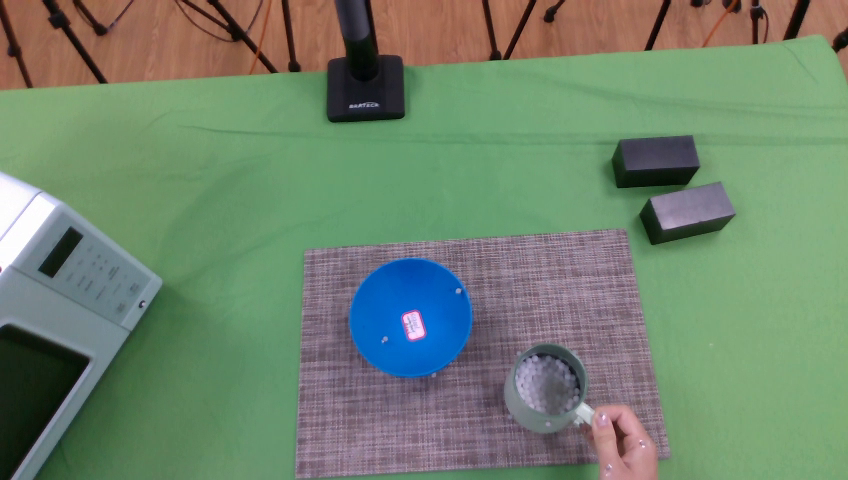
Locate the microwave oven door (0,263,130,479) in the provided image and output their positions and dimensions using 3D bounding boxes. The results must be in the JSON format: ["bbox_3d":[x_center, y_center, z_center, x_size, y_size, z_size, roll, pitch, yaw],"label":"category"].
[{"bbox_3d":[-0.482,0.210,0.631,0.039,0.245,0.354,23,70,12],"label":"microwave oven door"}]

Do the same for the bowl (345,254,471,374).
[{"bbox_3d":[-0.018,0.101,0.761,0.151,0.077,0.150,-1,67,3],"label":"bowl"}]

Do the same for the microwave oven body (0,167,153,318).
[{"bbox_3d":[-0.595,0.121,0.679,0.325,0.262,0.440,23,71,11],"label":"microwave oven body"}]

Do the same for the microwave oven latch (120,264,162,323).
[{"bbox_3d":[-0.380,0.068,0.797,0.030,0.030,0.079,25,71,12],"label":"microwave oven latch"}]

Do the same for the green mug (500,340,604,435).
[{"bbox_3d":[0.147,0.173,0.681,0.124,0.106,0.092,36,75,18],"label":"green mug"}]
